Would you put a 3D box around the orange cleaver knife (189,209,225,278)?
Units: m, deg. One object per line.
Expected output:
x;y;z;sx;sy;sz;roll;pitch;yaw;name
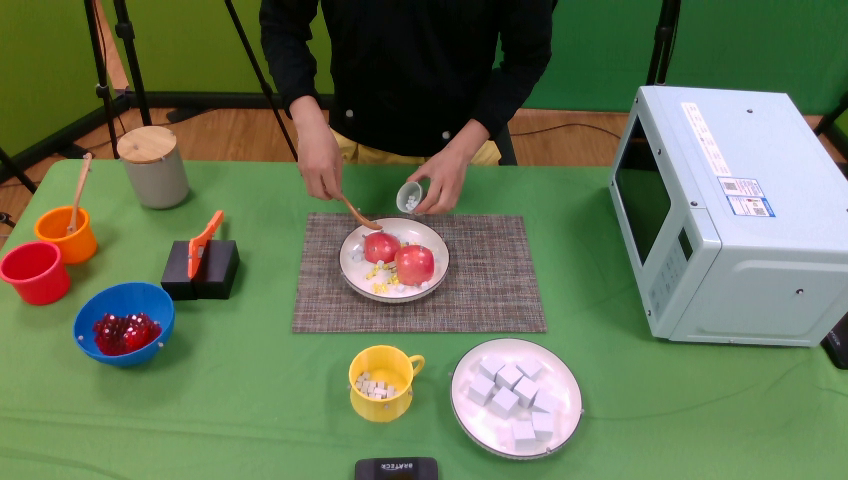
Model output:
-0.400;0.002;1.122;0.012;0.077;0.210;4;23;-4;orange cleaver knife

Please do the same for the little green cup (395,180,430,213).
-0.020;-0.080;1.147;0.061;0.039;0.061;-6;75;24;little green cup

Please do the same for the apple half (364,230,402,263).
-0.079;0.004;1.159;0.081;0.033;0.081;3;50;-3;apple half

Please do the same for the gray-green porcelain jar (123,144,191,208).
-0.530;-0.137;1.213;0.106;0.127;0.105;2;46;-2;gray-green porcelain jar

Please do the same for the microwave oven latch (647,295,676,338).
0.413;0.133;1.060;0.030;0.029;0.078;4;46;1;microwave oven latch

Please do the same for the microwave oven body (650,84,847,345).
0.569;-0.054;1.115;0.326;0.261;0.439;2;46;-1;microwave oven body

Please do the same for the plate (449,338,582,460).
0.141;0.251;0.955;0.208;0.039;0.206;2;47;-2;plate

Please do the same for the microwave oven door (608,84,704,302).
0.424;-0.096;1.138;0.039;0.245;0.353;3;46;-1;microwave oven door

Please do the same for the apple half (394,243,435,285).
-0.016;0.037;1.120;0.075;0.053;0.080;1;46;-6;apple half

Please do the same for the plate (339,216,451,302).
-0.054;0.038;1.137;0.209;0.038;0.208;2;46;-2;plate

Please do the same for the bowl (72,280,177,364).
-0.472;0.147;0.982;0.151;0.077;0.150;2;46;-2;bowl

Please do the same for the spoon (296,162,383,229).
-0.154;-0.081;1.104;0.194;0.021;0.041;42;9;-5;spoon

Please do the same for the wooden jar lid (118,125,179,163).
-0.528;-0.181;1.167;0.108;0.021;0.107;4;48;-4;wooden jar lid

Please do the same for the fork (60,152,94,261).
-0.638;-0.063;1.119;0.028;0.018;0.207;12;90;8;fork

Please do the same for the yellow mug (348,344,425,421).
-0.054;0.217;0.954;0.131;0.064;0.099;-24;53;-25;yellow mug
